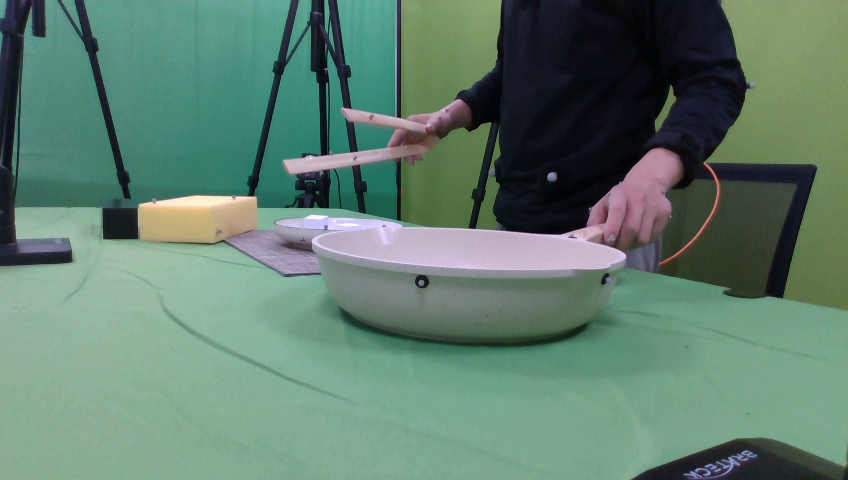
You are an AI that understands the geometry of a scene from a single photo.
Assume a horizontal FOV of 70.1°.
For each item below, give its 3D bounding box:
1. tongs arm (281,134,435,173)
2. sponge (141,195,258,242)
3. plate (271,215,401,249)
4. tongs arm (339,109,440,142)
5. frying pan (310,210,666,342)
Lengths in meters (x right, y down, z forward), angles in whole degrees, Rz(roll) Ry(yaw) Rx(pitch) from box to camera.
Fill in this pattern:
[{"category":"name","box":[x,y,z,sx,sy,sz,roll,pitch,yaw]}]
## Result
[{"category":"tongs arm","box":[-0.102,-0.163,1.100,0.050,0.026,0.386,-35,-9,33]},{"category":"sponge","box":[-0.380,-0.040,1.047,0.118,0.061,0.207,1,8,3]},{"category":"plate","box":[-0.141,-0.012,0.978,0.208,0.039,0.207,3,7,0]},{"category":"tongs arm","box":[-0.046,-0.199,1.063,0.028,0.027,0.389,-37,-9,21]},{"category":"frying pan","box":[0.120,0.011,0.643,0.490,0.102,0.305,-13,16,-36]}]
